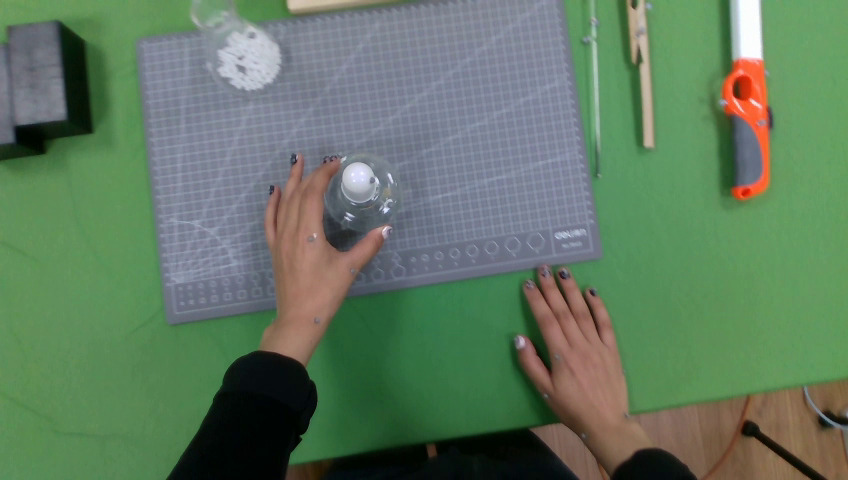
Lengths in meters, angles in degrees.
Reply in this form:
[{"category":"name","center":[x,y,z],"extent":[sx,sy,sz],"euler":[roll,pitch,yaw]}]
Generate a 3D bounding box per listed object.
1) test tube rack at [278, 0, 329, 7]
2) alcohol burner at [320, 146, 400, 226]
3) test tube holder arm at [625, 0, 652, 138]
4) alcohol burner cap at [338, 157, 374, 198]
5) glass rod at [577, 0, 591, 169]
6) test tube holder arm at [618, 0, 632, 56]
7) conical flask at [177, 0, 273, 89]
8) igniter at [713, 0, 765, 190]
[{"category":"test tube rack","center":[-0.036,-0.299,0.602],"extent":[0.242,0.085,0.066],"euler":[-10,87,-3]},{"category":"alcohol burner","center":[-0.062,-0.054,0.571],"extent":[0.078,0.119,0.077],"euler":[0,86,0]},{"category":"test tube holder arm","center":[0.224,-0.196,0.639],"extent":[0.013,0.015,0.178],"euler":[-10,86,33]},{"category":"alcohol burner cap","center":[-0.060,-0.058,0.535],"extent":[0.034,0.048,0.034],"euler":[1,82,-7]},{"category":"glass rod","center":[0.170,-0.174,0.642],"extent":[0.008,0.008,0.199],"euler":[-2,89,-3]},{"category":"test tube holder arm","center":[0.214,-0.240,0.644],"extent":[0.010,0.015,0.087],"euler":[-8,87,34]},{"category":"conical flask","center":[-0.191,-0.195,0.568],"extent":[0.075,0.122,0.075],"euler":[0,86,-2]},{"category":"igniter","center":[0.331,-0.190,0.640],"extent":[0.057,0.025,0.276],"euler":[0,87,-12]}]
